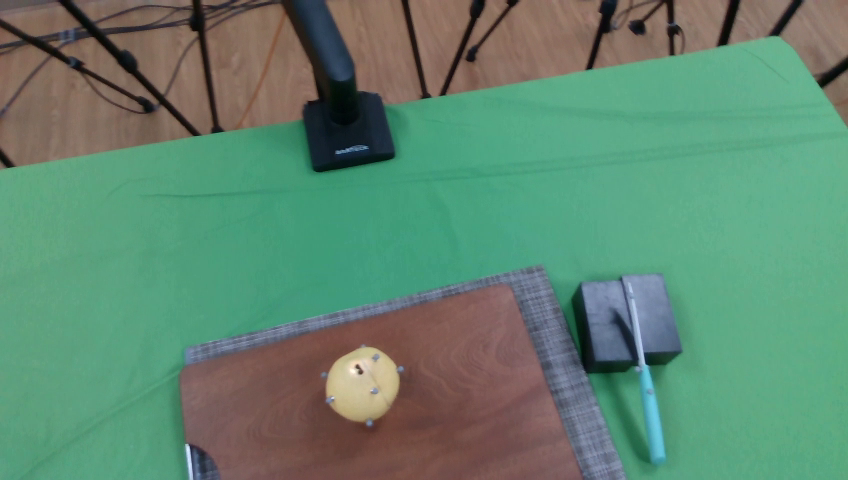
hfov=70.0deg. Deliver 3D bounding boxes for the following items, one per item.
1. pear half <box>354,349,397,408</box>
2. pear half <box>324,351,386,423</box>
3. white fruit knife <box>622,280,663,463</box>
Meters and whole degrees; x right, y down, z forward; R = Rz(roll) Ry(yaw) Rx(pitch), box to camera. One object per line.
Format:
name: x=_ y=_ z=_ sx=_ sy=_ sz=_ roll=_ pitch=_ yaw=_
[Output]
pear half: x=-0.048 y=0.141 z=0.649 sx=0.031 sy=0.089 sz=0.070 roll=-34 pitch=63 yaw=-17
pear half: x=-0.077 y=0.155 z=0.630 sx=0.056 sy=0.111 sz=0.075 roll=-34 pitch=64 yaw=-17
white fruit knife: x=0.243 y=0.148 z=0.682 sx=0.016 sy=0.027 sz=0.206 roll=-8 pitch=84 yaw=2
